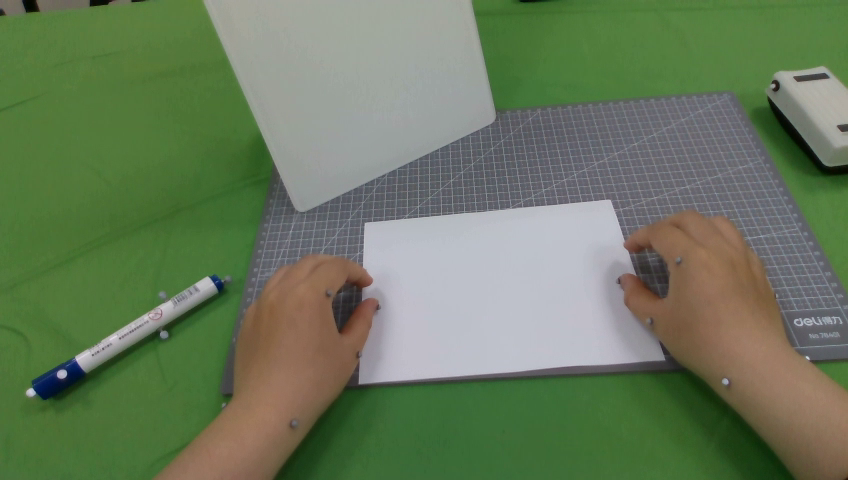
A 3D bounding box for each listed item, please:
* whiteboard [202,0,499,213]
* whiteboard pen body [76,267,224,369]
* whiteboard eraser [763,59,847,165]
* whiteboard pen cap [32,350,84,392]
[{"bbox_3d":[-0.089,-0.221,0.540,0.217,0.308,0.142,-27,31,-15],"label":"whiteboard"},{"bbox_3d":[-0.216,0.063,0.458,0.141,0.017,0.017,-35,54,-23],"label":"whiteboard pen body"},{"bbox_3d":[0.350,-0.112,0.531,0.055,0.042,0.111,-10,50,1],"label":"whiteboard eraser"},{"bbox_3d":[-0.261,0.093,0.435,0.033,0.018,0.018,-36,54,-23],"label":"whiteboard pen cap"}]
